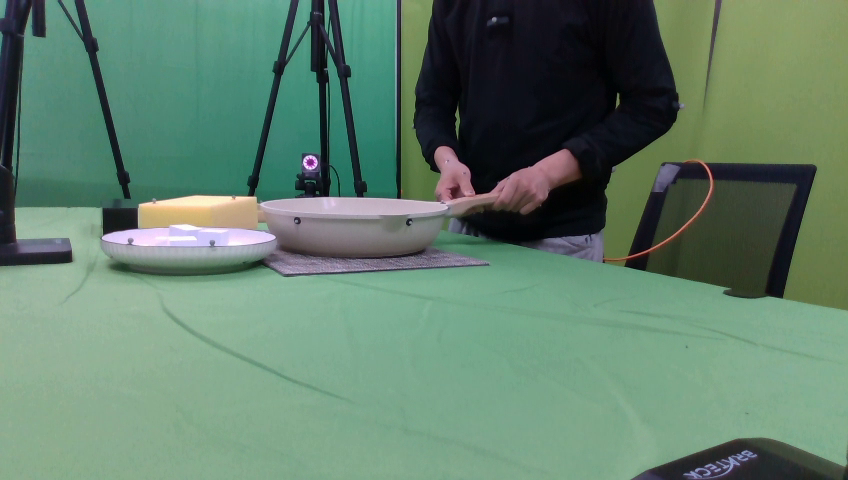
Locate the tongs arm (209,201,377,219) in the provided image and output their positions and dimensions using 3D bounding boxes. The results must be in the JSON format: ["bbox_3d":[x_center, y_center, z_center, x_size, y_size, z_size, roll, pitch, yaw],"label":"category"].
[{"bbox_3d":[-0.306,-0.070,1.430,0.386,0.026,0.050,1,8,-15],"label":"tongs arm"}]

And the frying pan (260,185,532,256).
[{"bbox_3d":[-0.017,-0.049,1.003,0.490,0.102,0.305,-12,14,-25],"label":"frying pan"}]

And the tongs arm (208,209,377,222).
[{"bbox_3d":[-0.280,-0.056,1.355,0.389,0.028,0.028,-1,6,-28],"label":"tongs arm"}]

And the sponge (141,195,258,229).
[{"bbox_3d":[-0.380,-0.040,1.047,0.118,0.061,0.207,1,8,3],"label":"sponge"}]

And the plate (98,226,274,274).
[{"bbox_3d":[-0.301,0.012,0.778,0.208,0.039,0.207,3,7,0],"label":"plate"}]
